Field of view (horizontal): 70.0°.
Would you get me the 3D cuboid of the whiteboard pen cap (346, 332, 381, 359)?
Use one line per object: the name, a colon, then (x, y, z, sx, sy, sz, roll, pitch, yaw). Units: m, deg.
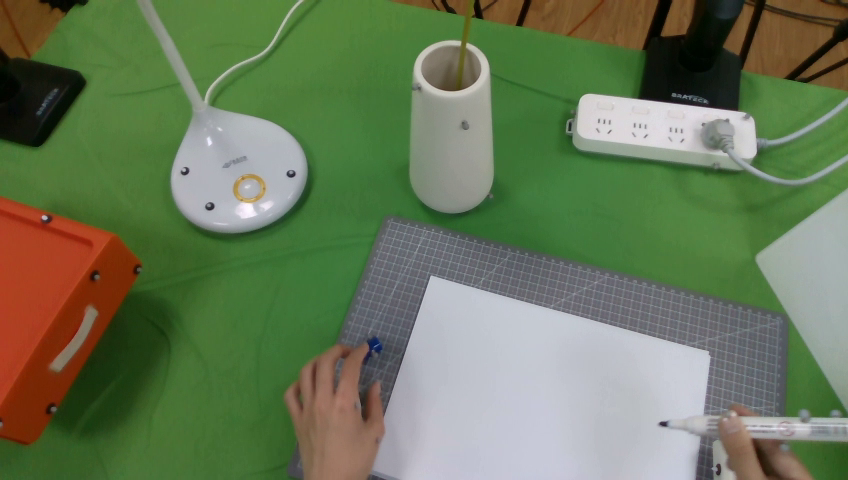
whiteboard pen cap: (-0.063, 0.107, 0.626, 0.033, 0.018, 0.018, -31, 66, -12)

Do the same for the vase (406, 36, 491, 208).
vase: (0.025, -0.117, 0.639, 0.098, 0.201, 0.097, -1, 62, 2)

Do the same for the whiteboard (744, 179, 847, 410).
whiteboard: (0.495, 0.018, 0.535, 0.144, 0.307, 0.215, -6, 61, -23)

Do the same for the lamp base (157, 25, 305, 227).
lamp base: (-0.234, -0.130, 0.662, 0.160, 0.182, 0.177, -36, 65, -16)

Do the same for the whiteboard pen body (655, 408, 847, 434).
whiteboard pen body: (0.236, 0.128, 0.430, 0.140, 0.017, 0.017, -10, 57, 35)

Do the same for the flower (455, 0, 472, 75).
flower: (0.034, -0.169, 0.573, 0.038, 0.364, 0.043, 3, 45, -4)

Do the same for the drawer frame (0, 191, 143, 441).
drawer frame: (-0.426, 0.057, 0.580, 0.213, 0.083, 0.200, 18, 66, 8)

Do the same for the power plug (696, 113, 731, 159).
power plug: (0.330, -0.115, 0.698, 0.035, 0.053, 0.072, 18, 66, 11)

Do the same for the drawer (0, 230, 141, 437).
drawer: (-0.420, 0.056, 0.578, 0.211, 0.074, 0.193, 17, 66, 10)

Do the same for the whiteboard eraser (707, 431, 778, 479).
whiteboard eraser: (0.284, 0.232, 0.541, 0.055, 0.042, 0.112, 10, 64, 4)

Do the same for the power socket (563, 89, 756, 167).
power socket: (0.285, -0.137, 0.736, 0.226, 0.033, 0.071, 9, 64, 5)
